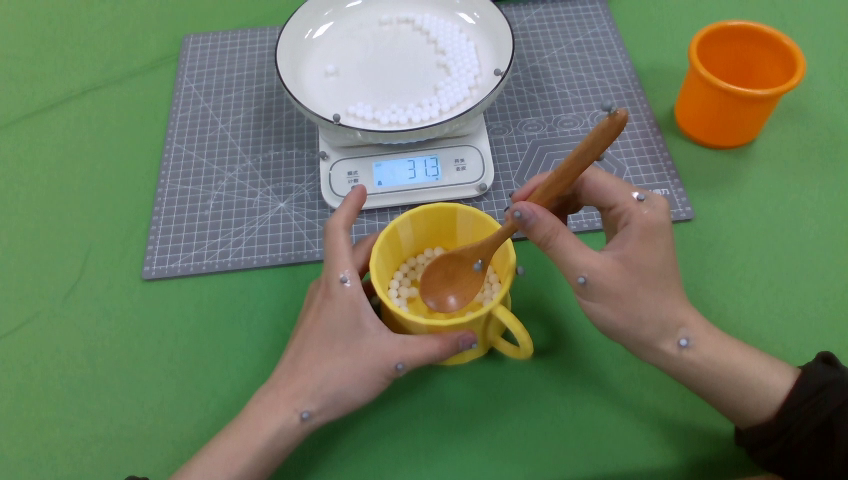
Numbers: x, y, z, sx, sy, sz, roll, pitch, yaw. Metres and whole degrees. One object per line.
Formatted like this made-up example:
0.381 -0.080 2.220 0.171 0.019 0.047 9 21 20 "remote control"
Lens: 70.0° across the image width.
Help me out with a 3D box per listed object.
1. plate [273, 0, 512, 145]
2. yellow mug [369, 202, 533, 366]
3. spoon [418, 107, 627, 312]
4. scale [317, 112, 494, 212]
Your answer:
-0.027 -0.160 0.540 0.209 0.038 0.207 0 57 1 "plate"
0.025 0.040 0.429 0.130 0.064 0.100 38 67 24 "yellow mug"
0.055 -0.010 0.375 0.041 0.194 0.021 41 43 -3 "spoon"
-0.023 -0.118 0.552 0.149 0.032 0.199 -7 58 -1 "scale"
